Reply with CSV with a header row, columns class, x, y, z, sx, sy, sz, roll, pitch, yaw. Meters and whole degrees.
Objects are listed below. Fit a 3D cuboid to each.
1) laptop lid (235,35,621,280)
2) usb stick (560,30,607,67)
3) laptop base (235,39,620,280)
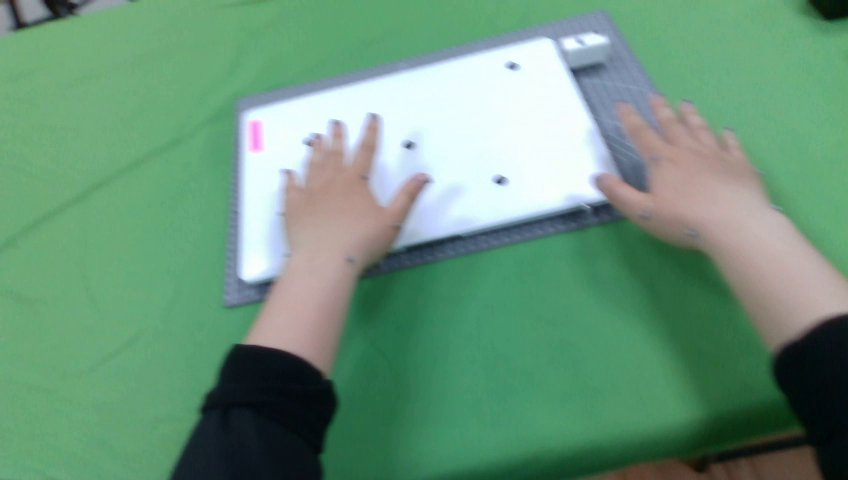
class,x,y,z,sx,sy,sz,roll,pitch,yaw
laptop lid,-0.015,-0.093,0.596,0.356,0.013,0.239,-12,53,4
usb stick,0.161,-0.200,0.638,0.059,0.027,0.021,-14,51,5
laptop base,-0.014,-0.088,0.607,0.354,0.023,0.233,-13,54,2
